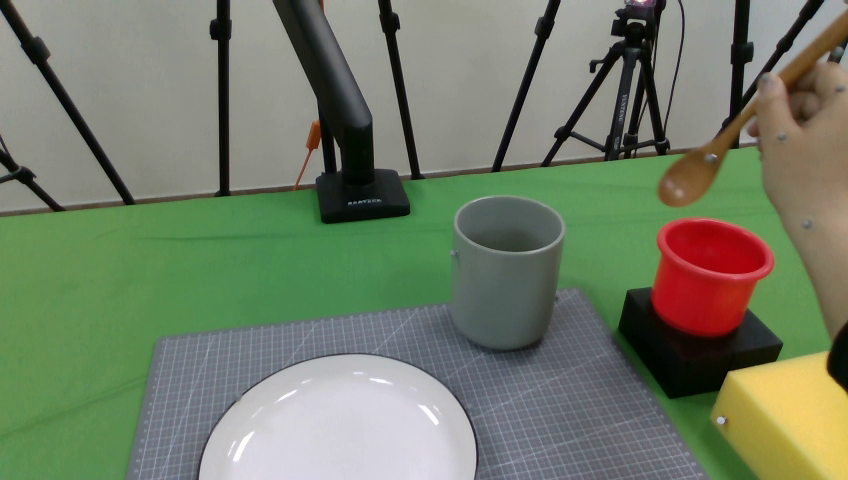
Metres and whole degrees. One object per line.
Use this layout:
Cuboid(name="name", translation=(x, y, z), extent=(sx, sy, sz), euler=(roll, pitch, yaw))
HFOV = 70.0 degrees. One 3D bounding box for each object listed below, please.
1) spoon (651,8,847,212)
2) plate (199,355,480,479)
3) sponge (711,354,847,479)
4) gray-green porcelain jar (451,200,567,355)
Cuboid(name="spoon", translation=(0.233, -0.086, 0.443), extent=(0.022, 0.194, 0.041), euler=(-3, 57, -23))
Cuboid(name="plate", translation=(-0.062, 0.174, 0.467), extent=(0.208, 0.039, 0.205), euler=(1, 33, 0))
Cuboid(name="sponge", translation=(0.335, 0.183, 0.448), extent=(0.118, 0.061, 0.204), euler=(-8, 34, -14))
Cuboid(name="gray-green porcelain jar", translation=(0.079, 0.040, 0.593), extent=(0.106, 0.127, 0.105), euler=(0, 34, 0))
